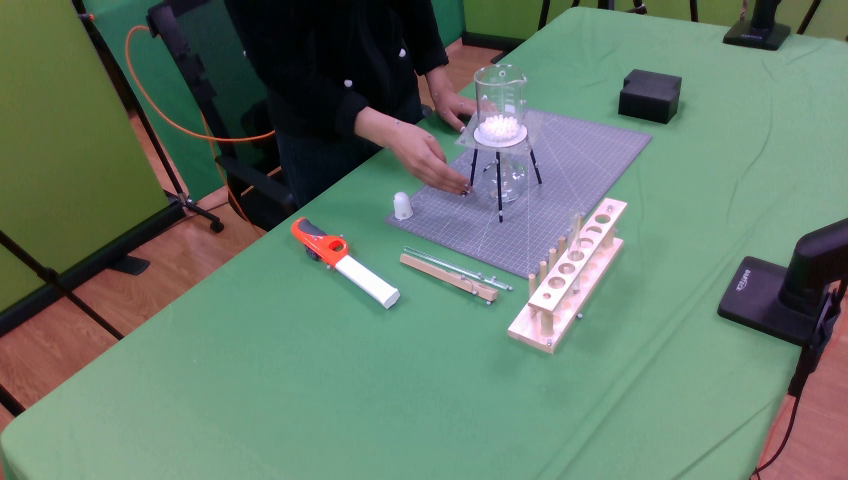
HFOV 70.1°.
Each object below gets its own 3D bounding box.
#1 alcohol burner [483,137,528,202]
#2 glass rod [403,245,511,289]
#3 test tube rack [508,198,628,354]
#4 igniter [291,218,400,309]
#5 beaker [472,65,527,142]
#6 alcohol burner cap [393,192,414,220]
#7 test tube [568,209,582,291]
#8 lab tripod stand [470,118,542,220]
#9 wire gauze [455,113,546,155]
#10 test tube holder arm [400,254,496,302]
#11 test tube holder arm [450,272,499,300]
[{"bbox_3d":[0.138,-0.125,1.030,0.078,0.119,0.077,-4,41,4],"label":"alcohol burner"},{"bbox_3d":[0.047,0.040,0.939,0.198,0.008,0.008,21,49,30],"label":"glass rod"},{"bbox_3d":[0.206,0.039,0.850,0.066,0.085,0.243,20,48,31],"label":"test tube rack"},{"bbox_3d":[-0.136,0.031,0.970,0.057,0.025,0.274,-41,49,-19],"label":"igniter"},{"bbox_3d":[0.120,-0.211,0.942,0.083,0.101,0.074,10,42,22],"label":"beaker"},{"bbox_3d":[-0.038,-0.061,1.043,0.034,0.048,0.033,-5,40,5],"label":"alcohol burner cap"},{"bbox_3d":[0.200,0.017,0.799,0.017,0.151,0.017,-8,45,8],"label":"test tube"},{"bbox_3d":[0.135,-0.128,1.019,0.148,0.132,0.147,-5,38,5],"label":"lab tripod stand"},{"bbox_3d":[0.124,-0.175,0.973,0.124,0.011,0.121,8,39,21],"label":"wire gauze"},{"bbox_3d":[0.033,0.055,0.915,0.177,0.015,0.013,21,16,33],"label":"test tube holder arm"},{"bbox_3d":[0.071,0.068,0.895,0.087,0.015,0.010,21,16,33],"label":"test tube holder arm"}]
